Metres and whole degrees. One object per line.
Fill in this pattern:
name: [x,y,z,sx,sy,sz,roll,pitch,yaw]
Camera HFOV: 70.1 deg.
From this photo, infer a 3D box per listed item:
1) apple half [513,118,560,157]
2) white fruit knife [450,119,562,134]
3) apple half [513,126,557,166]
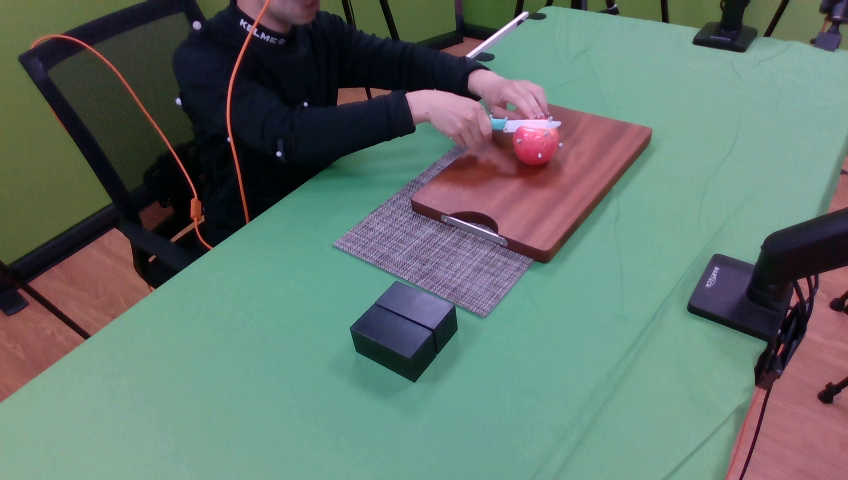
apple half: [0.202,-0.180,1.067,0.080,0.075,0.053,9,39,24]
white fruit knife: [0.138,-0.199,1.051,0.206,0.027,0.016,3,37,26]
apple half: [0.187,-0.156,1.040,0.081,0.081,0.033,11,41,20]
